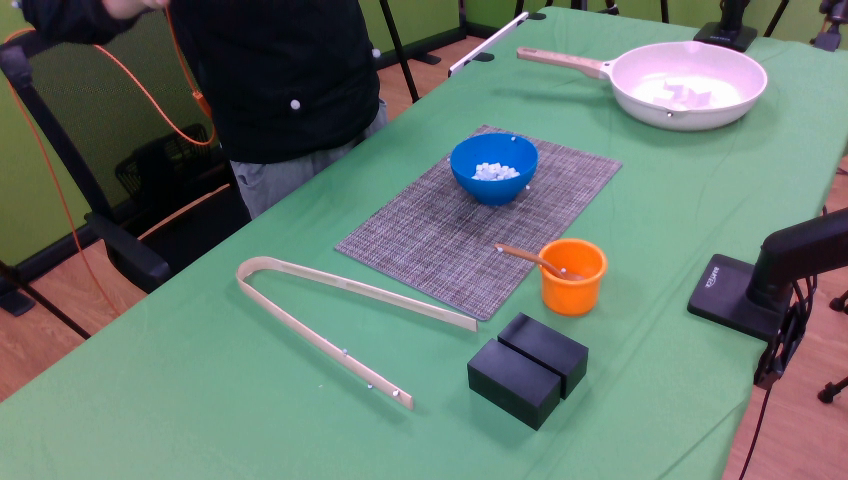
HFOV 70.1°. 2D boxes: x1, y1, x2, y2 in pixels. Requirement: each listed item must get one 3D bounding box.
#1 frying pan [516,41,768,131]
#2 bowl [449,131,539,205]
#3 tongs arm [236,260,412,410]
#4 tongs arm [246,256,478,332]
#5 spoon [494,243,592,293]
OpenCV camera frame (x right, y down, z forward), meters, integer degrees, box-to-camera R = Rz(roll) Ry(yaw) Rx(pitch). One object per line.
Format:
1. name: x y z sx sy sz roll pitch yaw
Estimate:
1. frying pan: 0.424 -0.338 1.236 0.486 0.103 0.307 19 45 15
2. bowl: 0.120 -0.114 1.034 0.151 0.077 0.150 -4 41 4
3. tongs arm: -0.148 0.120 0.839 0.381 0.026 0.051 24 48 32
4. tongs arm: -0.101 0.076 0.891 0.385 0.028 0.028 14 47 22
5. spoon: 0.162 0.034 0.808 0.021 0.195 0.041 -47 40 21
